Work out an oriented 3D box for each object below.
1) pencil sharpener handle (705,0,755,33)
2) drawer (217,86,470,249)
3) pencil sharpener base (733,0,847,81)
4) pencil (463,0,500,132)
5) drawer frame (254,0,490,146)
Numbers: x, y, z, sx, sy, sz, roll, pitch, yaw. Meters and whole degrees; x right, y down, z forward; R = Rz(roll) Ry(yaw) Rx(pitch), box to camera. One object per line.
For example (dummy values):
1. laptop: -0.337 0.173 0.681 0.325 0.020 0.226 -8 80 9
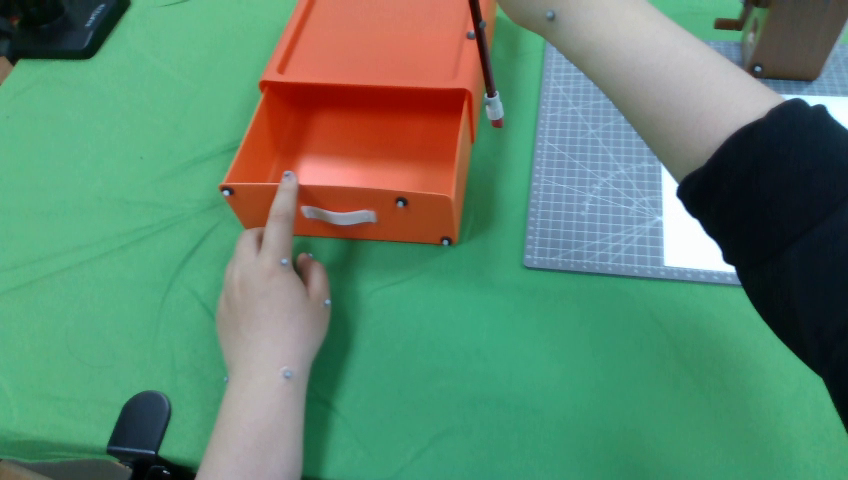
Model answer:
1. pencil sharpener handle: 0.288 -0.222 0.568 0.030 0.068 0.035 6 62 12
2. drawer: -0.058 -0.097 0.560 0.194 0.074 0.210 3 55 10
3. pencil sharpener base: 0.339 -0.209 0.567 0.076 0.108 0.061 6 57 12
4. pencil: 0.031 -0.148 0.396 0.012 0.196 0.012 -9 48 10
5. drawer frame: -0.041 -0.195 0.623 0.201 0.083 0.212 3 55 10
